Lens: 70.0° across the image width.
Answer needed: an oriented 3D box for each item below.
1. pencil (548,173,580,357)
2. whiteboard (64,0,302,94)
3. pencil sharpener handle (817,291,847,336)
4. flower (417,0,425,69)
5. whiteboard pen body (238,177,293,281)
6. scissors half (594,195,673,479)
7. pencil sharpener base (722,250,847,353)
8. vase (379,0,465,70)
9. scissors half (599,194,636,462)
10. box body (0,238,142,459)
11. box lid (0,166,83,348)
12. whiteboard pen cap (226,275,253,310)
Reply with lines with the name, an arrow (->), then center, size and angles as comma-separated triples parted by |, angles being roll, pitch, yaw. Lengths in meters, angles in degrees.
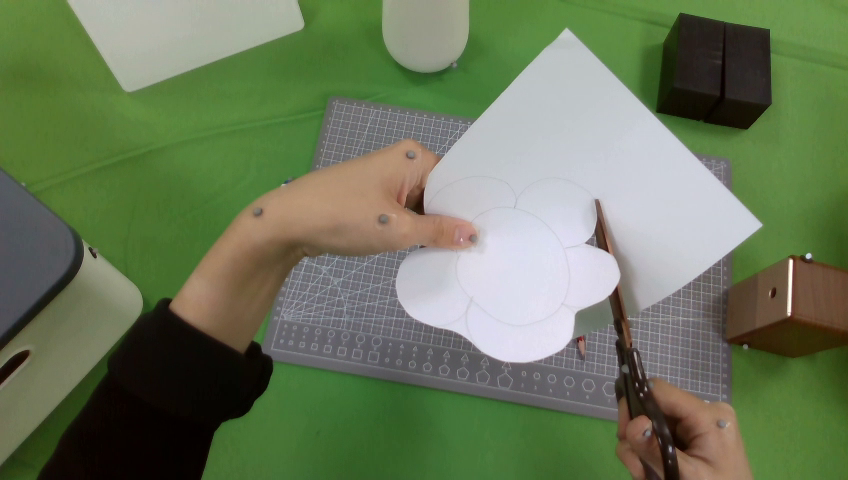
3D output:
pencil -> 0.144, 0.022, 0.617 | 0.012, 0.012, 0.192 | -4, 72, -2
whiteboard -> -0.287, -0.347, 0.617 | 0.217, 0.308, 0.142 | -24, 53, -9
pencil sharpener handle -> 0.387, 0.069, 0.545 | 0.030, 0.068, 0.035 | 14, 64, 1
flower -> -0.006, -0.309, 0.546 | 0.044, 0.365, 0.038 | 3, 52, 3
whiteboard pen body -> -0.164, -0.002, 0.614 | 0.017, 0.017, 0.140 | 16, 69, 5
scissors half -> 0.116, 0.060, 0.341 | 0.013, 0.040, 0.175 | -13, 90, -1
pencil sharpener base -> 0.337, 0.060, 0.557 | 0.077, 0.107, 0.061 | 14, 69, 0
vase -> -0.002, -0.267, 0.619 | 0.098, 0.201, 0.097 | 0, 68, 0
scissors half -> 0.116, 0.056, 0.362 | 0.013, 0.040, 0.176 | -12, 110, 4
box body -> -0.470, 0.024, 0.521 | 0.362, 0.161, 0.253 | 35, 73, 11
box lid -> -0.471, -0.004, 0.452 | 0.370, 0.015, 0.262 | 35, 73, 10
whiteboard pen cap -> -0.179, 0.051, 0.593 | 0.018, 0.018, 0.033 | 15, 66, 5
